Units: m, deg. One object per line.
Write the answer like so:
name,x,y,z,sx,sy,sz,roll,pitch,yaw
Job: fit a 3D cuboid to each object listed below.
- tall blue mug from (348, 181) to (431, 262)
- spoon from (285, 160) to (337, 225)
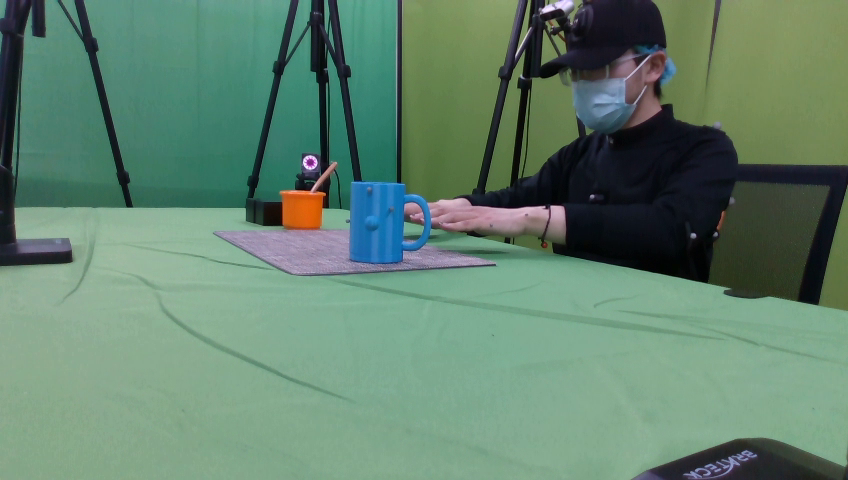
tall blue mug,-0.051,-0.028,0.849,0.108,0.108,0.077,-1,7,-22
spoon,-0.229,-0.101,1.251,0.041,0.194,0.022,4,-37,34
